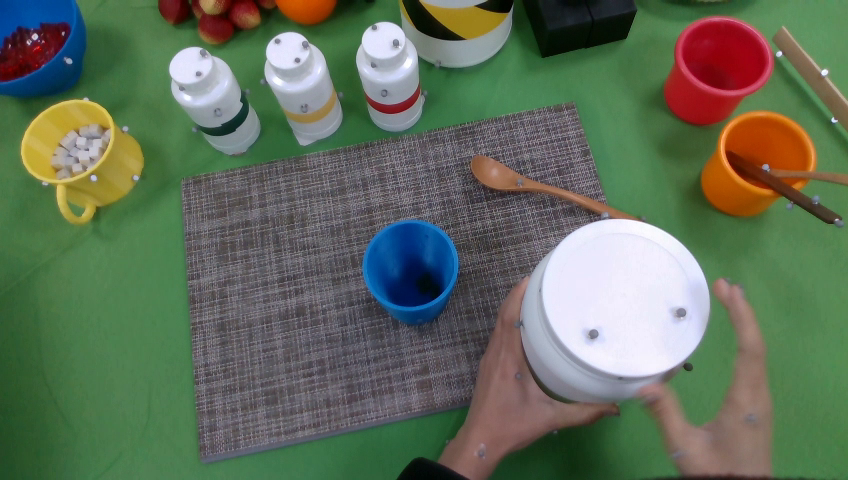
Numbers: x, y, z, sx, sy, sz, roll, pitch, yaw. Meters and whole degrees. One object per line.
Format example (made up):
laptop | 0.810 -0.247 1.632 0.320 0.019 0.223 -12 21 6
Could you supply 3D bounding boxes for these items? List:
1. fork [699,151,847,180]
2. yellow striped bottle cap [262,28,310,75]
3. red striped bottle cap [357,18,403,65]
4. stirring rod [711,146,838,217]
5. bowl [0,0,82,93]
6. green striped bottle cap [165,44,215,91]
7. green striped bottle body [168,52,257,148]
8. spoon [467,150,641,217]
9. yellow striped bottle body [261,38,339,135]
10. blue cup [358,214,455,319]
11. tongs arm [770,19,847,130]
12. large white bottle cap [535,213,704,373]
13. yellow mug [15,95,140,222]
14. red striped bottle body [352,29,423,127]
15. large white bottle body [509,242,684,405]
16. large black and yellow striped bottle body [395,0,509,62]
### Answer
fork | 0.356 -0.064 0.568 0.028 0.019 0.205 -50 32 -13
yellow striped bottle cap | -0.135 -0.185 0.593 0.044 0.019 0.044 0 72 2
red striped bottle cap | -0.043 -0.194 0.591 0.044 0.018 0.044 1 69 -1
stirring rod | 0.325 -0.060 0.575 0.014 0.006 0.174 -10 28 -3
bowl | -0.459 -0.225 0.700 0.151 0.077 0.150 -1 71 2
green striped bottle cap | -0.229 -0.169 0.592 0.044 0.020 0.044 -1 70 2
green striped bottle body | -0.225 -0.152 0.641 0.063 0.120 0.063 -1 70 3
spoon | 0.136 -0.054 0.638 0.193 0.022 0.041 19 48 8
yellow striped bottle body | -0.132 -0.168 0.642 0.063 0.121 0.062 -1 70 4
blue cup | -0.014 0.034 0.573 0.092 0.101 0.092 0 70 1
tongs arm | 0.496 -0.088 0.629 0.051 0.027 0.382 -24 72 -7
large white bottle cap | 0.136 0.035 0.427 0.115 0.018 0.114 -1 70 3
yellow mug | -0.373 -0.082 0.653 0.100 0.064 0.130 -2 71 1
red striped bottle body | -0.038 -0.176 0.641 0.063 0.120 0.062 -2 69 7
large white bottle body | 0.142 0.066 0.510 0.130 0.186 0.129 -1 70 3
large black and yellow striped bottle body | 0.029 -0.295 0.644 0.131 0.185 0.130 -1 71 3
